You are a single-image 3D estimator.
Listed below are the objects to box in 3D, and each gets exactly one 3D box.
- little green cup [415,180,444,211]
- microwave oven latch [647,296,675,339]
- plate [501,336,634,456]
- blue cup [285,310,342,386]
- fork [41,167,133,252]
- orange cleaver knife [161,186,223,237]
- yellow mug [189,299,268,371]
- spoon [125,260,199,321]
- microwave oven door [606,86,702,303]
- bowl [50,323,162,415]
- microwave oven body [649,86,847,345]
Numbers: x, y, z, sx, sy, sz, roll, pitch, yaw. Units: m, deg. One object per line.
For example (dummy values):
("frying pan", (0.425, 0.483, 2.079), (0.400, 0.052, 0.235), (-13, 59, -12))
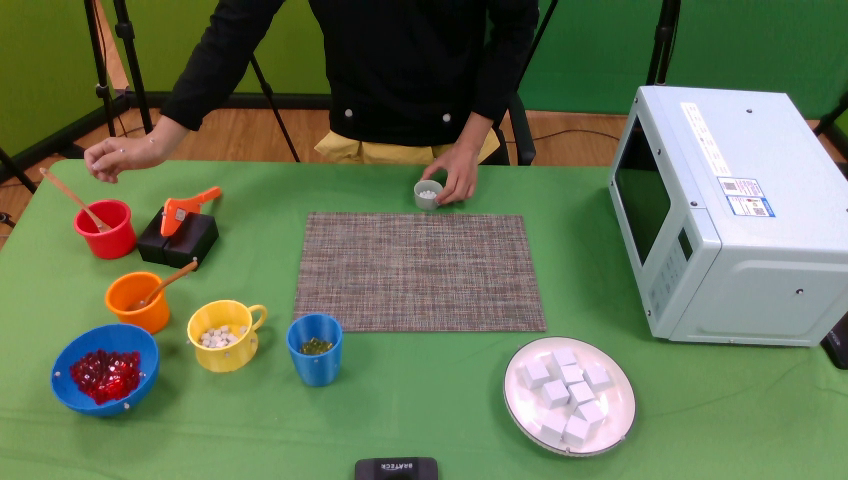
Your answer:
("little green cup", (0.009, -0.093, 1.279), (0.061, 0.039, 0.061), (5, 46, -5))
("microwave oven latch", (0.413, 0.134, 1.061), (0.030, 0.029, 0.078), (5, 45, 2))
("plate", (0.225, 0.248, 0.964), (0.208, 0.039, 0.206), (2, 46, -2))
("blue cup", (-0.170, 0.179, 0.958), (0.093, 0.101, 0.092), (2, 44, -1))
("fork", (-0.624, -0.056, 1.121), (0.208, 0.018, 0.028), (50, 53, -15))
("orange cleaver knife", (-0.449, -0.059, 1.181), (0.012, 0.077, 0.211), (13, 17, 6))
("yellow mug", (-0.316, 0.148, 1.002), (0.131, 0.064, 0.099), (-33, 56, -31))
("spoon", (-0.434, 0.083, 1.000), (0.022, 0.194, 0.041), (35, 34, -35))
("microwave oven door", (0.423, -0.094, 1.141), (0.039, 0.245, 0.353), (2, 46, -1))
("bowl", (-0.472, 0.209, 0.924), (0.151, 0.077, 0.150), (2, 45, -2))
("microwave oven body", (0.568, -0.053, 1.118), (0.326, 0.261, 0.439), (2, 45, -1))
